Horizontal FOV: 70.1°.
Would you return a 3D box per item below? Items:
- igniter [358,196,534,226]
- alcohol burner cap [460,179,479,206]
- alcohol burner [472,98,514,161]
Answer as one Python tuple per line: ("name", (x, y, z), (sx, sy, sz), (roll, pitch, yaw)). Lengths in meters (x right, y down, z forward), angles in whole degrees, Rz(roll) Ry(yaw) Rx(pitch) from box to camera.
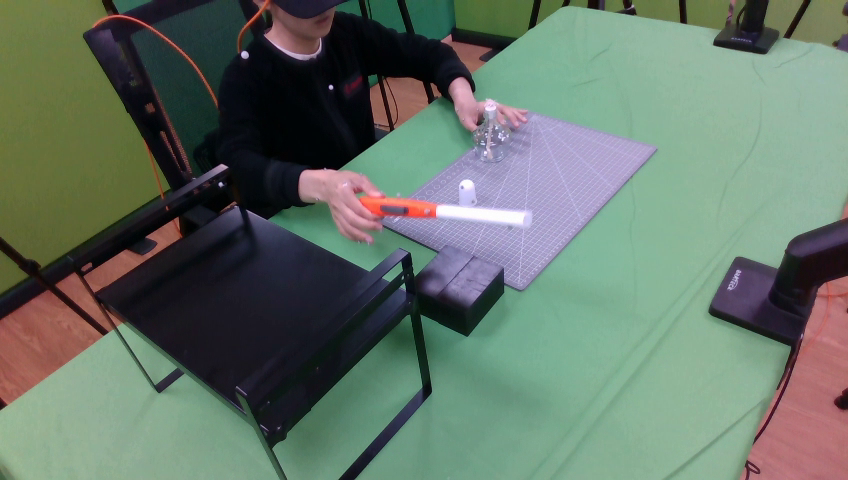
("igniter", (0.017, -0.041, 0.828), (0.274, 0.025, 0.057), (7, 13, 32))
("alcohol burner cap", (0.078, -0.083, 1.041), (0.034, 0.048, 0.033), (-5, 42, 5))
("alcohol burner", (0.127, -0.208, 1.124), (0.078, 0.119, 0.077), (-5, 39, 5))
